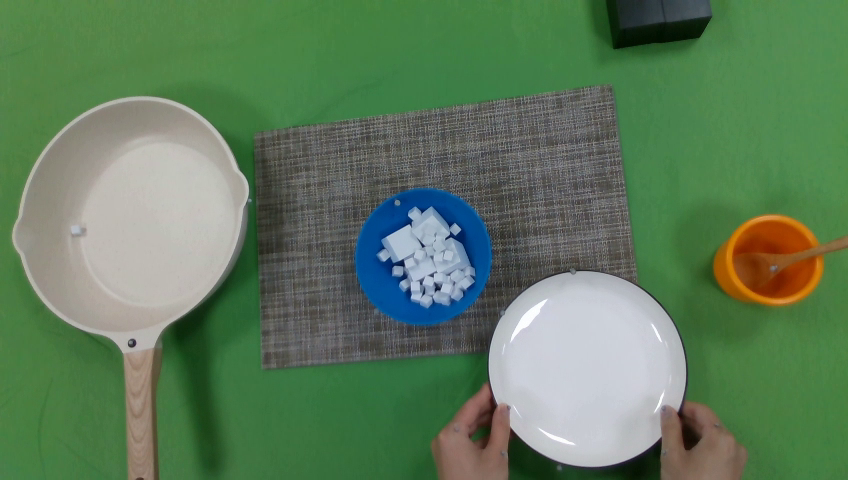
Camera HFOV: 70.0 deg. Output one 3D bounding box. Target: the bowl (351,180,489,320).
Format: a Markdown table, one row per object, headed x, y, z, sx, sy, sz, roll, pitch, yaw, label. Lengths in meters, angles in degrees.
| x | y | z | sx | sy | sz | roll | pitch | yaw | label |
| --- | --- | --- | --- | --- | --- | --- | --- | --- | --- |
| 0.001 | 0.016 | 0.684 | 0.151 | 0.077 | 0.151 | -1 | 82 | 8 | bowl |

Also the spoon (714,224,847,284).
| x | y | z | sx | sy | sz | roll | pitch | yaw | label |
| --- | --- | --- | --- | --- | --- | --- | --- | --- | --- |
| 0.382 | 0.003 | 0.598 | 0.022 | 0.193 | 0.041 | -10 | 77 | -38 | spoon |

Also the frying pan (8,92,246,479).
| x | y | z | sx | sy | sz | roll | pitch | yaw | label |
| --- | --- | --- | --- | --- | --- | --- | --- | --- | --- |
| -0.338 | 0.065 | 0.717 | 0.306 | 0.103 | 0.484 | -10 | 72 | 8 | frying pan |

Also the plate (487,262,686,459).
| x | y | z | sx | sy | sz | roll | pitch | yaw | label |
| --- | --- | --- | --- | --- | --- | --- | --- | --- | --- |
| 0.173 | 0.128 | 0.659 | 0.207 | 0.039 | 0.207 | -1 | 83 | 6 | plate |
